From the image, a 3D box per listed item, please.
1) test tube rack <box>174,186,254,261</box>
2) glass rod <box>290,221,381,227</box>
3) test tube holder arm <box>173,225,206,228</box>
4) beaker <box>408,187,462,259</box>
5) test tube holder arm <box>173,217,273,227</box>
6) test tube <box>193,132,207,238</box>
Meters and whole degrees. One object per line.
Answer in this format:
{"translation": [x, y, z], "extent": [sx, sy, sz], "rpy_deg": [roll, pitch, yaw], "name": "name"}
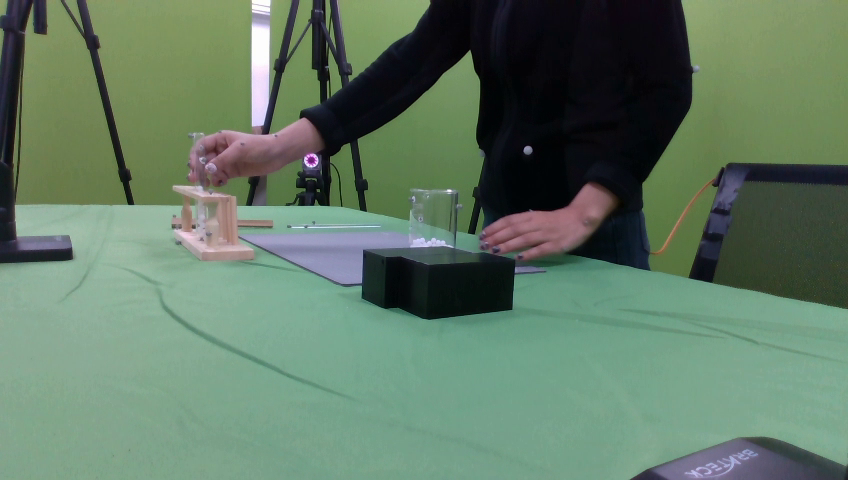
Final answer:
{"translation": [-0.314, -0.031, 0.888], "extent": [0.067, 0.085, 0.241], "rpy_deg": [-2, 8, -30], "name": "test tube rack"}
{"translation": [-0.179, -0.033, 1.247], "extent": [0.201, 0.008, 0.008], "rpy_deg": [-3, 8, -30], "name": "glass rod"}
{"translation": [-0.415, -0.030, 1.113], "extent": [0.088, 0.015, 0.010], "rpy_deg": [-1, -23, -25], "name": "test tube holder arm"}
{"translation": [0.013, -0.027, 0.884], "extent": [0.074, 0.100, 0.083], "rpy_deg": [0, 7, -23], "name": "beaker"}
{"translation": [-0.372, -0.033, 1.127], "extent": [0.179, 0.015, 0.013], "rpy_deg": [-1, -23, -25], "name": "test tube holder arm"}
{"translation": [-0.320, -0.078, 0.865], "extent": [0.017, 0.150, 0.017], "rpy_deg": [0, 5, 0], "name": "test tube"}
